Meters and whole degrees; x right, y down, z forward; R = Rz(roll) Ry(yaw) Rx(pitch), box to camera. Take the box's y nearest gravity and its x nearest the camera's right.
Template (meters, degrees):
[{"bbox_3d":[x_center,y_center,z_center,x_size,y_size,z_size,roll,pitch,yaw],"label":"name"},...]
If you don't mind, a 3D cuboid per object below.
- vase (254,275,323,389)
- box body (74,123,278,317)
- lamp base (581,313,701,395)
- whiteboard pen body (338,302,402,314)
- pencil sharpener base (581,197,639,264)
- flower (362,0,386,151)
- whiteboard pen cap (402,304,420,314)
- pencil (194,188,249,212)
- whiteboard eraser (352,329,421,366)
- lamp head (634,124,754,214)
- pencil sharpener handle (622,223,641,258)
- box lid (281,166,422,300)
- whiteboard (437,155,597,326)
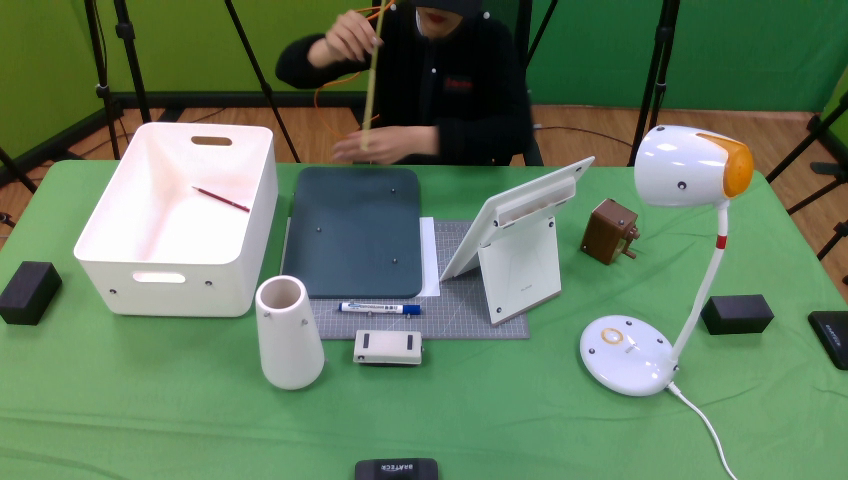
[{"bbox_3d":[-0.209,0.142,0.921,0.098,0.201,0.097,1,46,-1],"label":"vase"},{"bbox_3d":[-0.421,-0.041,1.108,0.254,0.161,0.361,2,46,-3],"label":"box body"},{"bbox_3d":[0.361,0.144,0.973,0.178,0.181,0.160,34,53,23],"label":"lamp base"},{"bbox_3d":[-0.083,0.121,1.074,0.141,0.017,0.017,3,46,-2],"label":"whiteboard pen body"},{"bbox_3d":[0.362,-0.016,1.178,0.076,0.107,0.061,35,53,26],"label":"pencil sharpener base"},{"bbox_3d":[-0.082,-0.337,1.066,0.038,0.362,0.044,0,17,-36],"label":"flower"},{"bbox_3d":[-0.024,0.123,1.076,0.033,0.018,0.018,1,46,1],"label":"whiteboard pen cap"},{"bbox_3d":[-0.397,-0.076,1.243,0.193,0.012,0.012,21,49,17],"label":"pencil"},{"bbox_3d":[-0.061,0.179,1.005,0.113,0.042,0.055,3,48,-3],"label":"whiteboard eraser"},{"bbox_3d":[0.351,-0.089,0.776,0.112,0.113,0.122,-30,30,-28],"label":"lamp head"},{"bbox_3d":[0.399,0.002,1.146,0.030,0.068,0.036,35,45,26],"label":"pencil sharpener handle"},{"bbox_3d":[-0.139,-0.029,1.219,0.263,0.015,0.369,1,46,-4],"label":"box lid"},{"bbox_3d":[0.180,0.023,1.029,0.217,0.306,0.143,-22,71,-23],"label":"whiteboard"}]
